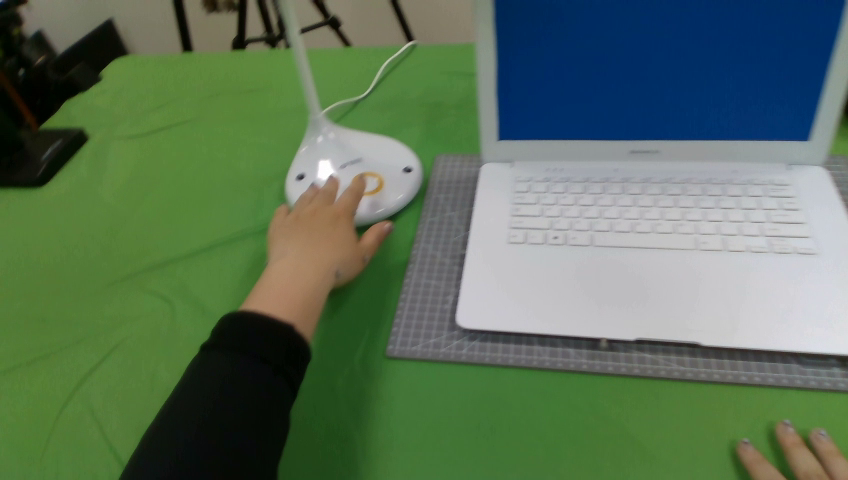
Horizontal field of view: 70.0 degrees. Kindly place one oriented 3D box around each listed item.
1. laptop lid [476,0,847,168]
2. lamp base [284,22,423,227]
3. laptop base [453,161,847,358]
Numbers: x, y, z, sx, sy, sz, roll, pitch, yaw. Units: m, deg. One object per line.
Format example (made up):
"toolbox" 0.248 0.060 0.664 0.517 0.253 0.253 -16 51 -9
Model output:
"laptop lid" 0.227 -0.171 0.587 0.356 0.244 0.013 1 37 12
"lamp base" -0.098 -0.132 0.654 0.160 0.182 0.177 -34 46 -24
"laptop base" 0.217 0.007 0.577 0.353 0.023 0.233 2 48 11
